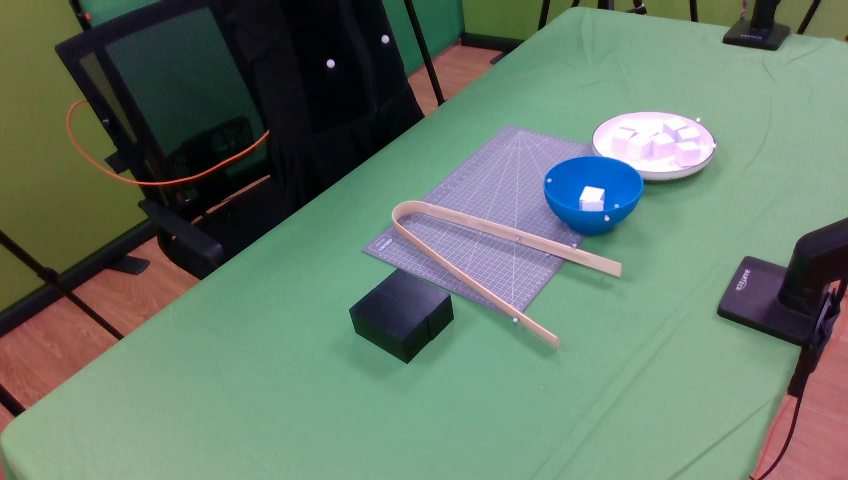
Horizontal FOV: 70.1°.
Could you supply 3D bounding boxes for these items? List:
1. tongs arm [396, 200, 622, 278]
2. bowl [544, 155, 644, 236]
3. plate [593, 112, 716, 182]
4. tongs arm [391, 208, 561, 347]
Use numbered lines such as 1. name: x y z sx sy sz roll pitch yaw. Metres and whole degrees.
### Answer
1. tongs arm: 0.117 -0.002 0.947 0.381 0.026 0.051 22 52 32
2. bowl: 0.266 -0.061 0.957 0.151 0.077 0.150 -5 41 5
3. plate: 0.408 -0.163 1.084 0.207 0.039 0.206 -4 40 4
4. tongs arm: 0.060 0.045 0.906 0.028 0.028 0.384 -37 46 -19
